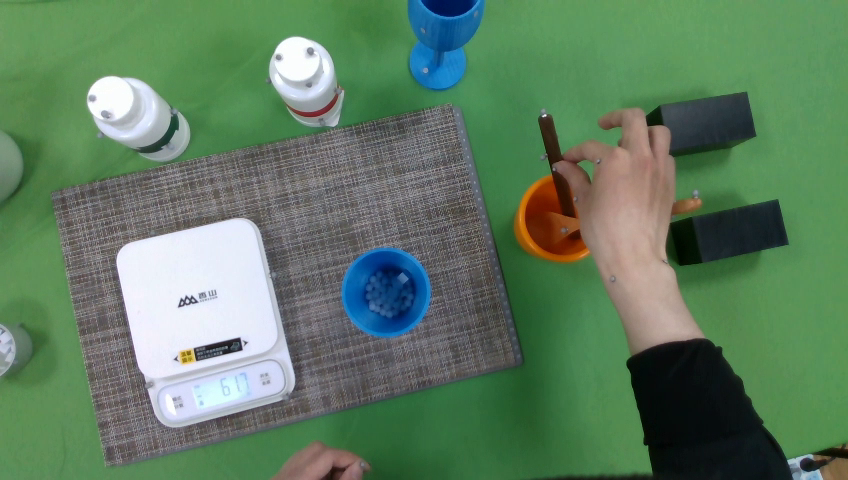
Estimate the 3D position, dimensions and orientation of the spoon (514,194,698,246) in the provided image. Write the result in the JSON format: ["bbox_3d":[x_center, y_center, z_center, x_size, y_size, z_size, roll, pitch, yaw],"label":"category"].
[{"bbox_3d":[0.177,-0.023,0.615,0.022,0.193,0.041,-13,93,-47],"label":"spoon"}]

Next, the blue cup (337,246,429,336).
[{"bbox_3d":[-0.039,0.052,0.617,0.093,0.100,0.092,0,86,-1],"label":"blue cup"}]

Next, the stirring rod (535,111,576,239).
[{"bbox_3d":[0.135,-0.059,0.615,0.014,0.178,0.006,0,50,25],"label":"stirring rod"}]

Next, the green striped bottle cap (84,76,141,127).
[{"bbox_3d":[-0.286,-0.128,0.556,0.044,0.020,0.044,0,85,-2],"label":"green striped bottle cap"}]

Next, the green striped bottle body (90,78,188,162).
[{"bbox_3d":[-0.289,-0.121,0.612,0.063,0.119,0.063,0,85,-3],"label":"green striped bottle body"}]

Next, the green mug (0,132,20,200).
[{"bbox_3d":[-0.483,-0.066,0.604,0.092,0.105,0.125,22,84,-1],"label":"green mug"}]

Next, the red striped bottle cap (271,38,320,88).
[{"bbox_3d":[-0.121,-0.167,0.571,0.044,0.018,0.044,0,83,-2],"label":"red striped bottle cap"}]

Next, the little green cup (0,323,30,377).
[{"bbox_3d":[-0.444,0.114,0.625,0.061,0.038,0.061,0,85,-4],"label":"little green cup"}]

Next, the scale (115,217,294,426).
[{"bbox_3d":[-0.230,0.085,0.639,0.149,0.031,0.200,-14,87,-4],"label":"scale"}]

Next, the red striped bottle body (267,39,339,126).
[{"bbox_3d":[-0.124,-0.163,0.624,0.063,0.120,0.063,0,85,-3],"label":"red striped bottle body"}]

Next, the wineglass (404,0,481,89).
[{"bbox_3d":[0.015,-0.213,0.609,0.074,0.172,0.073,0,85,-2],"label":"wineglass"}]
